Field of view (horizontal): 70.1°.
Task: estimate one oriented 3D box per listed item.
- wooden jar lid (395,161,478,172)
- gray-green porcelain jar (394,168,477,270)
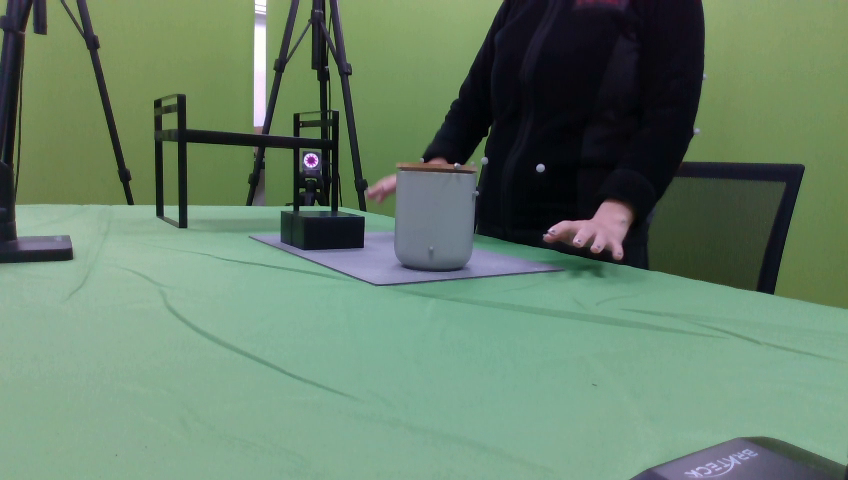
[{"bbox_3d":[0.016,-0.090,0.784,0.108,0.020,0.108,4,5,0],"label":"wooden jar lid"},{"bbox_3d":[0.014,-0.029,0.793,0.106,0.126,0.106,2,7,0],"label":"gray-green porcelain jar"}]
